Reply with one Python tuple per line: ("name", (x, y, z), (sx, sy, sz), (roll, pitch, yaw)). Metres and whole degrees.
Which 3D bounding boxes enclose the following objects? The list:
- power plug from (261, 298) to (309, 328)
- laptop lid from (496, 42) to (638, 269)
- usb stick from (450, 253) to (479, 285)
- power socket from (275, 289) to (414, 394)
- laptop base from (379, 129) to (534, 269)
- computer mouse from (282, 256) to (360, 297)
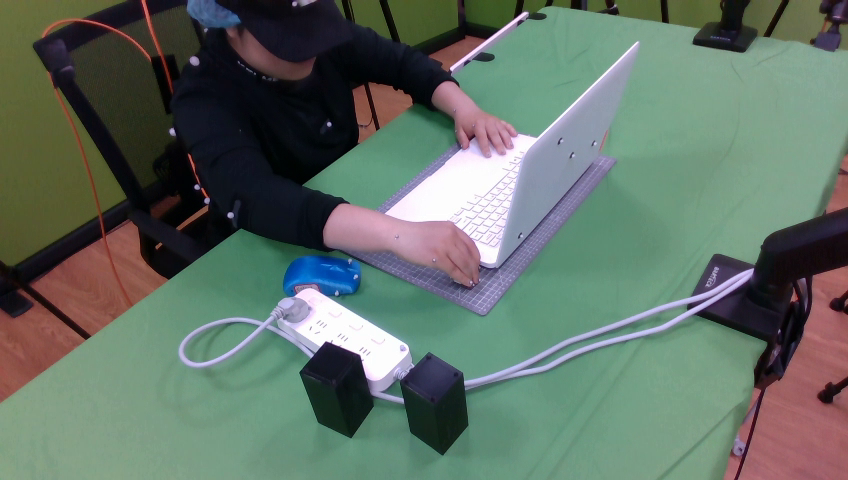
("power plug", (-0.192, 0.108, 0.830), (0.073, 0.053, 0.035), (-32, 42, -27))
("laptop lid", (0.219, -0.130, 0.913), (0.013, 0.242, 0.357), (31, 51, 21))
("usb stick", (0.064, 0.039, 0.897), (0.021, 0.027, 0.059), (24, 41, 33))
("power socket", (-0.115, 0.133, 0.820), (0.225, 0.033, 0.072), (25, 49, 32))
("laptop base", (0.118, -0.087, 1.059), (0.233, 0.023, 0.355), (19, 47, 33))
("computer mouse", (-0.156, 0.055, 0.917), (0.117, 0.041, 0.062), (0, 38, 2))
